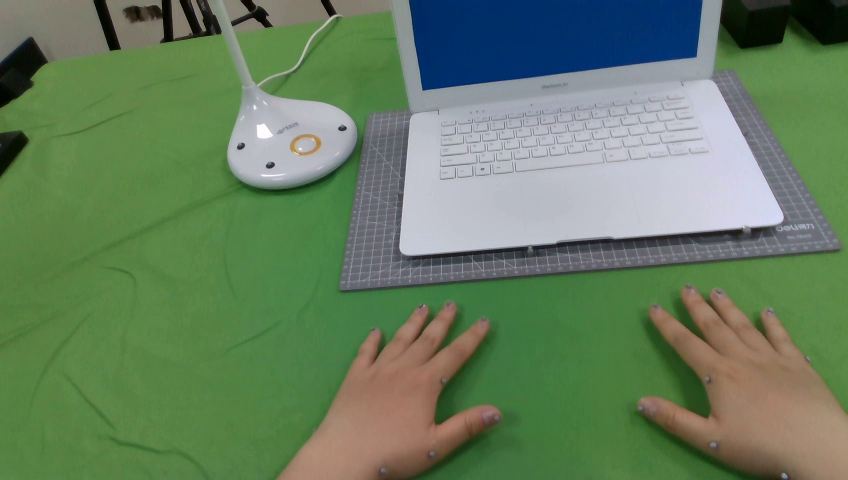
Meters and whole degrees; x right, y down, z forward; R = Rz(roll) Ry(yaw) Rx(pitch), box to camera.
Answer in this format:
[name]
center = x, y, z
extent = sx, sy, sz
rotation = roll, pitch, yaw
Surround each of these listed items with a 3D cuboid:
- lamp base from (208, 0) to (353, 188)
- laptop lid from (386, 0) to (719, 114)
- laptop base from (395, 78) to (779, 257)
[lamp base]
center = -0.187, -0.177, 0.695
extent = 0.177, 0.182, 0.160
rotation = 26, 56, 35
[laptop lid]
center = 0.135, -0.258, 0.651
extent = 0.356, 0.244, 0.013
rotation = -6, 38, 8
[laptop base]
center = 0.149, -0.080, 0.642
extent = 0.354, 0.023, 0.233
rotation = -5, 49, 7
